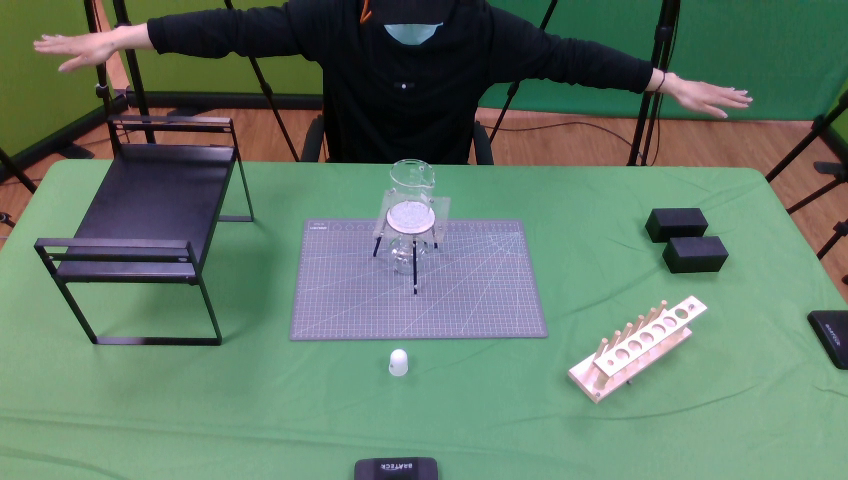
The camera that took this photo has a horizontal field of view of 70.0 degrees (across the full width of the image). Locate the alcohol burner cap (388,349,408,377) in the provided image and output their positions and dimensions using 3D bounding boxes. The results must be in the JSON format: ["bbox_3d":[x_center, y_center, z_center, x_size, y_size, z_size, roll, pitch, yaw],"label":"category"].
[{"bbox_3d":[-0.042,0.197,0.989,0.034,0.048,0.033,3,46,-2],"label":"alcohol burner cap"}]

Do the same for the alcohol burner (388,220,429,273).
[{"bbox_3d":[-0.028,0.006,1.118,0.078,0.119,0.077,2,48,-2],"label":"alcohol burner"}]

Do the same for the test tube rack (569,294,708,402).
[{"bbox_3d":[0.360,0.167,1.014,0.242,0.085,0.066,-25,53,-25],"label":"test tube rack"}]

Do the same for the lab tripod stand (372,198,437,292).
[{"bbox_3d":[-0.025,-0.002,1.112,0.148,0.132,0.147,2,44,-2],"label":"lab tripod stand"}]

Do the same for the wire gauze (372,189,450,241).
[{"bbox_3d":[-0.020,-0.043,1.061,0.121,0.011,0.124,9,42,2],"label":"wire gauze"}]

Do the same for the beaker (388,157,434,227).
[{"bbox_3d":[-0.021,-0.077,1.026,0.083,0.101,0.074,30,50,22],"label":"beaker"}]
